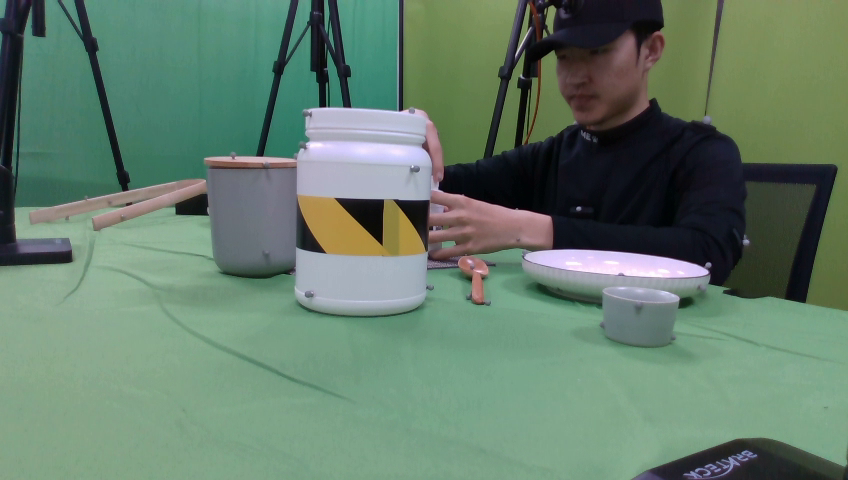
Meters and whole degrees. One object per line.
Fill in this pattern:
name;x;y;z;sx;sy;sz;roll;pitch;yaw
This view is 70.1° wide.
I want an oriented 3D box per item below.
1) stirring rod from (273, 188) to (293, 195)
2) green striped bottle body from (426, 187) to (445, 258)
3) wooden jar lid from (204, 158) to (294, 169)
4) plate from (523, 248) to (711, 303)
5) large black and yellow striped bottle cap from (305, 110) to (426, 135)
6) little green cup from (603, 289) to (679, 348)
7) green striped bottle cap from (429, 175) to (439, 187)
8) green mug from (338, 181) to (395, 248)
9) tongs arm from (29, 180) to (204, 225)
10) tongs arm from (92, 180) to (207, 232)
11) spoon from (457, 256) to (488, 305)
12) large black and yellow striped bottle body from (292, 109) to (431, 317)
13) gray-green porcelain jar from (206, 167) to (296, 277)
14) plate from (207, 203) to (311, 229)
stirring rod;-0.353;-0.122;1.519;0.006;0.014;0.176;1;6;1
green striped bottle body;-0.001;-0.036;0.902;0.063;0.119;0.063;3;7;0
wooden jar lid;-0.202;-0.086;0.714;0.108;0.020;0.108;3;11;0
plate;0.219;0.042;0.706;0.209;0.038;0.209;2;7;0
large black and yellow striped bottle cap;-0.055;-0.110;0.574;0.115;0.019;0.115;1;7;0
little green cup;0.180;0.064;0.505;0.061;0.038;0.061;2;6;0
green striped bottle cap;0.000;-0.087;0.896;0.044;0.020;0.044;1;5;0
green mug;-0.098;-0.044;0.995;0.093;0.105;0.125;-1;8;-21
tongs arm;-0.609;-0.083;1.245;0.050;0.026;0.386;5;16;23
tongs arm;-0.534;-0.076;1.221;0.028;0.028;0.388;-2;15;12
spoon;0.059;0.044;0.696;0.041;0.021;0.193;21;7;0
large black and yellow striped bottle body;-0.060;-0.028;0.584;0.131;0.184;0.130;3;7;0
gray-green porcelain jar;-0.201;-0.024;0.724;0.106;0.126;0.106;-1;9;1
plate;-0.342;-0.050;1.259;0.208;0.039;0.207;3;7;0
